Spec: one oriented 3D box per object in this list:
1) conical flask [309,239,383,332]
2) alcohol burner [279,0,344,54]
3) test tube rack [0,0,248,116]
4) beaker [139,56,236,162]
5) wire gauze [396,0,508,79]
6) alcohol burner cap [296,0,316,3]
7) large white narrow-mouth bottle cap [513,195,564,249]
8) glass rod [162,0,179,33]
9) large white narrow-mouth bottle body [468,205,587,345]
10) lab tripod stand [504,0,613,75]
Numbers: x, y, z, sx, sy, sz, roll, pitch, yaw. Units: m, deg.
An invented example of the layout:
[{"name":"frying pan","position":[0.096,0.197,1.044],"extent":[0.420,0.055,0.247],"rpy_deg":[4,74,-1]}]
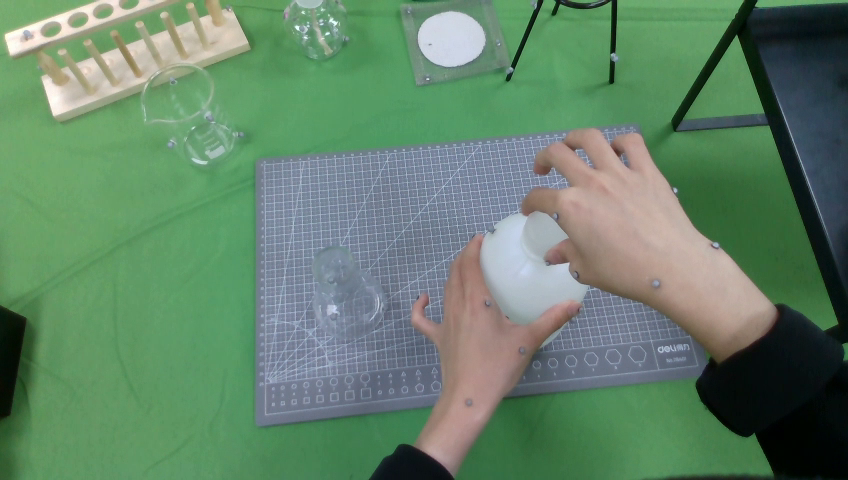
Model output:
[{"name":"conical flask","position":[-0.080,0.038,0.576],"extent":[0.075,0.122,0.075],"rpy_deg":[0,67,1]},{"name":"alcohol burner","position":[-0.135,-0.279,0.714],"extent":[0.078,0.120,0.077],"rpy_deg":[0,65,-1]},{"name":"test tube rack","position":[-0.344,-0.239,0.712],"extent":[0.242,0.086,0.066],"rpy_deg":[-25,70,-10]},{"name":"beaker","position":[-0.256,-0.136,0.663],"extent":[0.073,0.101,0.084],"rpy_deg":[39,73,15]},{"name":"wire gauze","position":[0.034,-0.265,0.765],"extent":[0.121,0.011,0.124],"rpy_deg":[-10,68,-5]},{"name":"alcohol burner cap","position":[-0.135,-0.295,0.681],"extent":[0.034,0.048,0.033],"rpy_deg":[4,66,-8]},{"name":"large white narrow-mouth bottle cap","position":[0.087,-0.013,0.457],"extent":[0.038,0.024,0.037],"rpy_deg":[-1,67,2]},{"name":"glass rod","position":[-0.300,-0.302,0.665],"extent":[0.008,0.201,0.008],"rpy_deg":[2,65,-4]},{"name":"large white narrow-mouth bottle body","position":[0.092,0.026,0.545],"extent":[0.102,0.196,0.101],"rpy_deg":[-1,67,2]},{"name":"lab tripod stand","position":[0.165,-0.262,0.697],"extent":[0.148,0.132,0.147],"rpy_deg":[1,67,-1]}]
